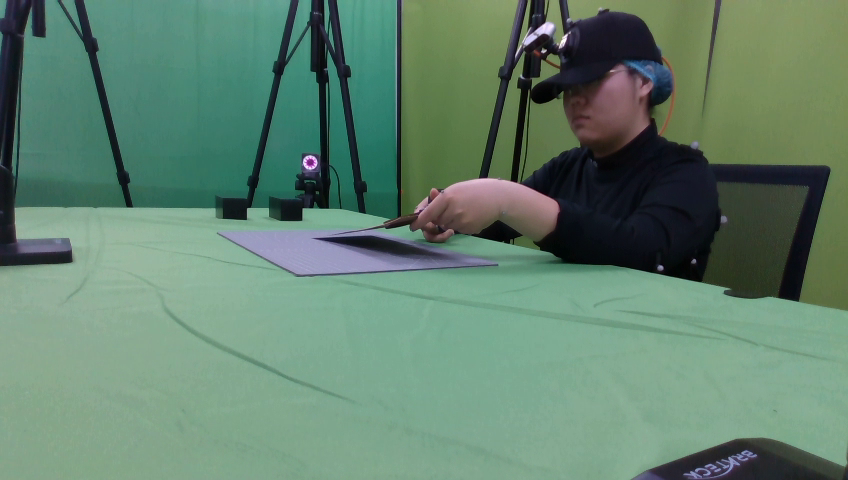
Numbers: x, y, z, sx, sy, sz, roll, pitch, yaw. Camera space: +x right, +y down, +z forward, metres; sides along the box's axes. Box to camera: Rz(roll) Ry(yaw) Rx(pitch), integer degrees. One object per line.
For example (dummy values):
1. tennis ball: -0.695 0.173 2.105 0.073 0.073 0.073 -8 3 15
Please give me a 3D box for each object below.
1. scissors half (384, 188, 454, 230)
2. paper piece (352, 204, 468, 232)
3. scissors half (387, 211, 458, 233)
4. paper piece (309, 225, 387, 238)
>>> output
1. scissors half: -0.008 -0.052 1.056 0.013 0.040 0.176 -13 14 48
2. paper piece: -0.024 -0.035 0.948 0.136 0.008 0.137 -20 8 -37
3. scissors half: -0.003 -0.031 1.058 0.176 0.040 0.012 -2 -3 -42
4. paper piece: -0.109 -0.020 1.052 0.136 0.004 0.135 -9 1 -40
